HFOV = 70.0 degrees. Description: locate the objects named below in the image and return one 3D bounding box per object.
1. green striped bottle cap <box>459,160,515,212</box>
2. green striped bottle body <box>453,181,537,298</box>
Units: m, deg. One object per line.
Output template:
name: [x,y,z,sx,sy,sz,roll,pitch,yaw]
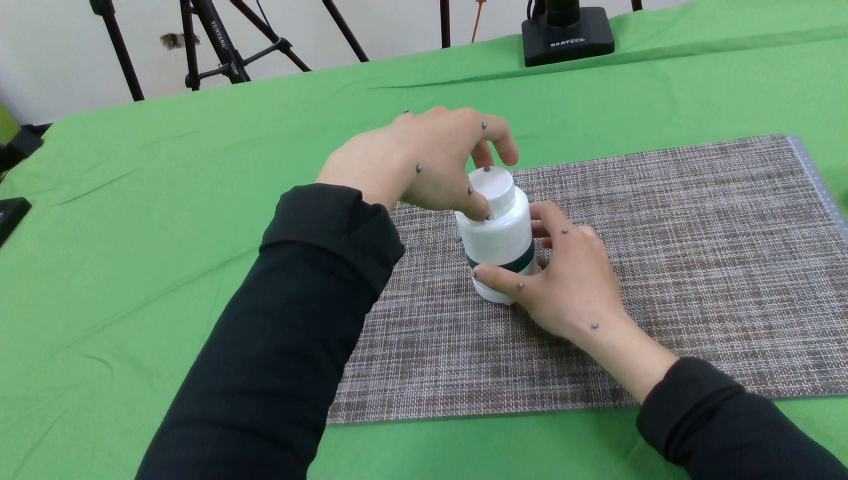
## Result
green striped bottle cap: [0.051,-0.045,0.495,0.044,0.020,0.044,-10,46,11]
green striped bottle body: [0.062,-0.008,0.532,0.063,0.120,0.062,-9,45,10]
